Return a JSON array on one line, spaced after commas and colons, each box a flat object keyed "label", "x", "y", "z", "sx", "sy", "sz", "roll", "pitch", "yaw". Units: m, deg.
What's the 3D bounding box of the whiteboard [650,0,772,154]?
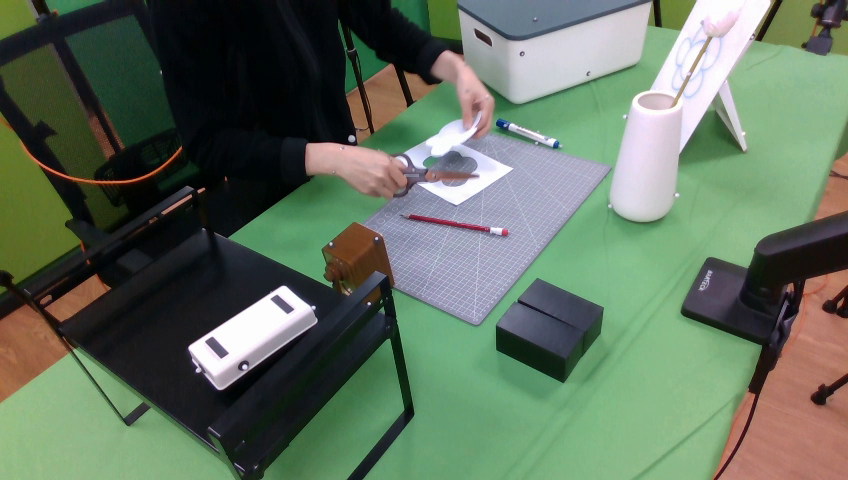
[{"label": "whiteboard", "x": 0.543, "y": -0.298, "z": 1.076, "sx": 0.144, "sy": 0.305, "sz": 0.216, "roll": 12, "pitch": 40, "yaw": -7}]

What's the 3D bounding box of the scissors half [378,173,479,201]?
[{"label": "scissors half", "x": 0.005, "y": -0.090, "z": 0.969, "sx": 0.174, "sy": 0.013, "sz": 0.040, "roll": -7, "pitch": 81, "yaw": 21}]

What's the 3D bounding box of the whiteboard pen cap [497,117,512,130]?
[{"label": "whiteboard pen cap", "x": 0.165, "y": -0.235, "z": 1.226, "sx": 0.033, "sy": 0.018, "sz": 0.018, "roll": 33, "pitch": 54, "yaw": 30}]

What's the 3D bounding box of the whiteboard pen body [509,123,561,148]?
[{"label": "whiteboard pen body", "x": 0.209, "y": -0.212, "z": 1.195, "sx": 0.139, "sy": 0.017, "sz": 0.017, "roll": 30, "pitch": 52, "yaw": 33}]

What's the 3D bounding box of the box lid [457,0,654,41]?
[{"label": "box lid", "x": 0.285, "y": -0.522, "z": 1.323, "sx": 0.373, "sy": 0.015, "sz": 0.261, "roll": -22, "pitch": 43, "yaw": -16}]

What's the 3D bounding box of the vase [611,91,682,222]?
[{"label": "vase", "x": 0.348, "y": -0.125, "z": 0.935, "sx": 0.098, "sy": 0.201, "sz": 0.097, "roll": -3, "pitch": 40, "yaw": 3}]

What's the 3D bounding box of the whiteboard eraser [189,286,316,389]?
[{"label": "whiteboard eraser", "x": -0.166, "y": 0.096, "z": 0.593, "sx": 0.113, "sy": 0.042, "sz": 0.055, "roll": -36, "pitch": 47, "yaw": -29}]

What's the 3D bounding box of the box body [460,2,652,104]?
[{"label": "box body", "x": 0.291, "y": -0.465, "z": 1.371, "sx": 0.365, "sy": 0.161, "sz": 0.252, "roll": -22, "pitch": 42, "yaw": -16}]

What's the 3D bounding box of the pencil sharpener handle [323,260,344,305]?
[{"label": "pencil sharpener handle", "x": -0.131, "y": 0.062, "z": 0.839, "sx": 0.035, "sy": 0.068, "sz": 0.031, "roll": 29, "pitch": 56, "yaw": 28}]

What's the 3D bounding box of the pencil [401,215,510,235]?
[{"label": "pencil", "x": 0.049, "y": -0.027, "z": 1.006, "sx": 0.193, "sy": 0.012, "sz": 0.012, "roll": 10, "pitch": 43, "yaw": 21}]

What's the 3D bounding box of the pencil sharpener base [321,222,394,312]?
[{"label": "pencil sharpener base", "x": -0.096, "y": 0.041, "z": 0.873, "sx": 0.061, "sy": 0.107, "sz": 0.077, "roll": 25, "pitch": 54, "yaw": 32}]

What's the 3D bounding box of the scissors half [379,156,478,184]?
[{"label": "scissors half", "x": 0.006, "y": -0.110, "z": 0.970, "sx": 0.174, "sy": 0.040, "sz": 0.013, "roll": 11, "pitch": 3, "yaw": 22}]

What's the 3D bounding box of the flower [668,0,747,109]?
[{"label": "flower", "x": 0.354, "y": -0.187, "z": 0.879, "sx": 0.038, "sy": 0.362, "sz": 0.044, "roll": 30, "pitch": 48, "yaw": 14}]
